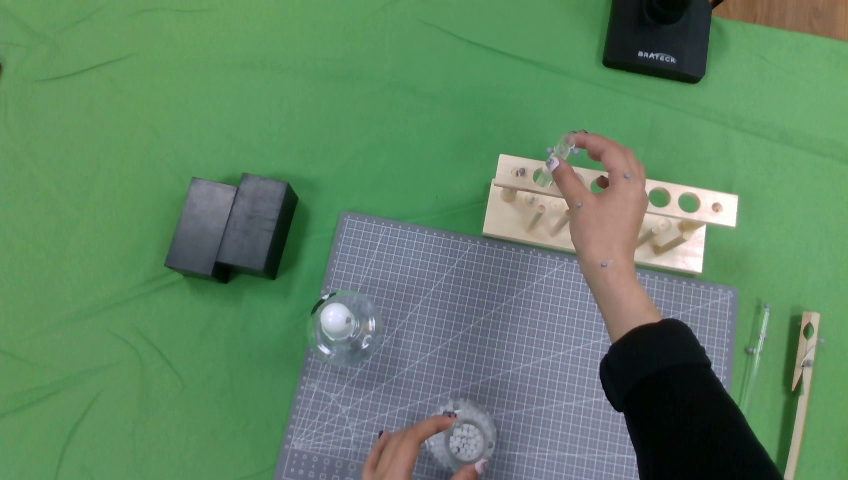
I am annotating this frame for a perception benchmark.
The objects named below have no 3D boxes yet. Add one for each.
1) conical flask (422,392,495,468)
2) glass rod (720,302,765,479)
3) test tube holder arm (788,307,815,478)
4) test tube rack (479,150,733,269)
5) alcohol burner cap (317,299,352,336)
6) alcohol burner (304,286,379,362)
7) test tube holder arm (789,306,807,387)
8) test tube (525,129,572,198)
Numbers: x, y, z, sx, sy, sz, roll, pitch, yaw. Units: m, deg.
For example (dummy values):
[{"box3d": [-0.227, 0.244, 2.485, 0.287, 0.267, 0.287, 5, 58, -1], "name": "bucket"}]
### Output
[{"box3d": [0.035, 0.183, 0.574, 0.075, 0.122, 0.075, 0, 76, 0], "name": "conical flask"}, {"box3d": [0.338, 0.160, 0.641, 0.008, 0.008, 0.199, 18, 79, 4], "name": "glass rod"}, {"box3d": [0.396, 0.157, 0.635, 0.013, 0.015, 0.177, 2, 72, 39], "name": "test tube holder arm"}, {"box3d": [0.187, -0.030, 0.647, 0.242, 0.085, 0.066, 10, 76, 2], "name": "test tube rack"}, {"box3d": [-0.085, 0.070, 0.567, 0.034, 0.048, 0.033, 1, 73, -4], "name": "alcohol burner cap"}, {"box3d": [-0.085, 0.081, 0.602, 0.078, 0.120, 0.077, 0, 75, 2], "name": "alcohol burner"}, {"box3d": [0.402, 0.115, 0.649, 0.010, 0.015, 0.087, 4, 73, 39], "name": "test tube holder arm"}, {"box3d": [0.122, -0.072, 0.606, 0.017, 0.151, 0.017, 0, 74, -1], "name": "test tube"}]
